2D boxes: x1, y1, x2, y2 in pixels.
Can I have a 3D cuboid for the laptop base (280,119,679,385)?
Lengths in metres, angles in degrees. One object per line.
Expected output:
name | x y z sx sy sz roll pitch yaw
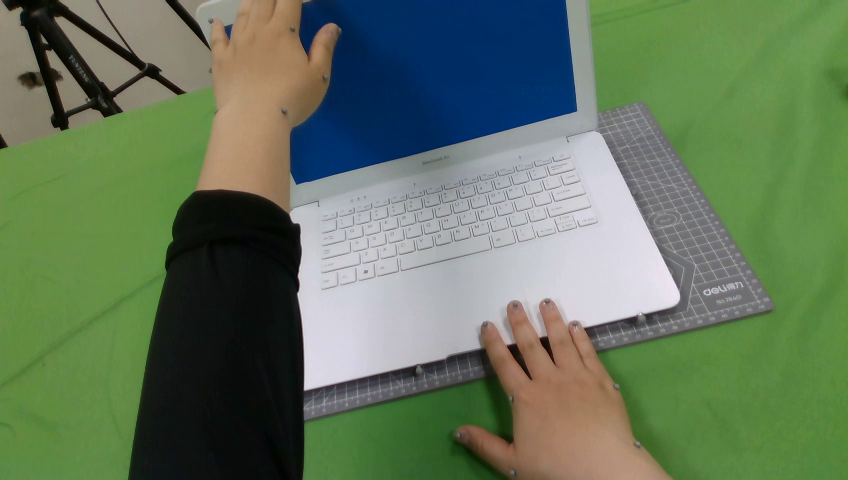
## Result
laptop base | 0.031 0.003 0.592 0.354 0.023 0.233 -14 51 5

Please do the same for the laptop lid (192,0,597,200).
laptop lid | -0.013 -0.172 0.596 0.356 0.244 0.013 -15 39 7
